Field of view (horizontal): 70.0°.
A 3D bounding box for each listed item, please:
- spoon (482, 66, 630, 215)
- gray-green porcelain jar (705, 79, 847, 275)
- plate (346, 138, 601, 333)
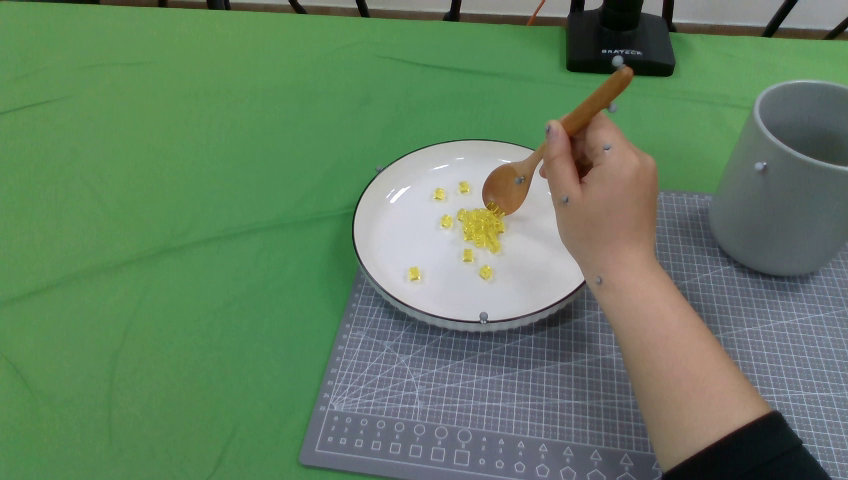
[{"bbox_3d":[0.089,-0.066,0.448,0.022,0.194,0.041,-19,78,-23],"label":"spoon"},{"bbox_3d":[0.289,-0.043,0.475,0.106,0.127,0.105,-1,49,2],"label":"gray-green porcelain jar"},{"bbox_3d":[0.040,-0.006,0.510,0.208,0.039,0.205,0,49,1],"label":"plate"}]
